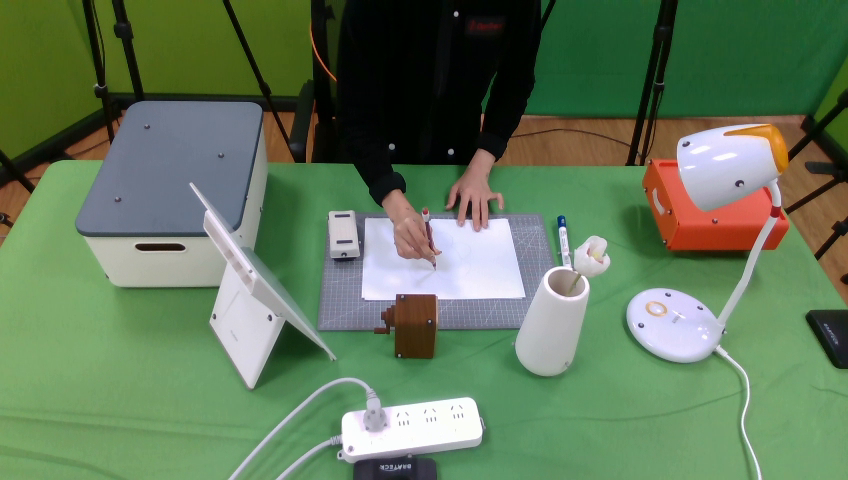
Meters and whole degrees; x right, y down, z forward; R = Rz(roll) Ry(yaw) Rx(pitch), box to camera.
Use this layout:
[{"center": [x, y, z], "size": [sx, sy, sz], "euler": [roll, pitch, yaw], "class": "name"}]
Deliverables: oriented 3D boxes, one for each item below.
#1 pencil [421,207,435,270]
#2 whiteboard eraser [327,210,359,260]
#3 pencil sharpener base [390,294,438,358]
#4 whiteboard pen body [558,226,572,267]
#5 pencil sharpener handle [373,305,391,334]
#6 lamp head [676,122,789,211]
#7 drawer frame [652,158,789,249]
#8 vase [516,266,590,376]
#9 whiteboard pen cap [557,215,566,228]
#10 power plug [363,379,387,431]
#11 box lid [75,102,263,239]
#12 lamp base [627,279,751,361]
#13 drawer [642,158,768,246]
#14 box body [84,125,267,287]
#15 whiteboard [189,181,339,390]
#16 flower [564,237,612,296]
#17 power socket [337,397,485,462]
[{"center": [0.010, 0.002, 1.073], "size": [0.012, 0.195, 0.012], "euler": [-3, 56, 5], "class": "pencil"}, {"center": [-0.158, -0.009, 1.177], "size": [0.055, 0.042, 0.112], "euler": [-6, 47, -7], "class": "whiteboard eraser"}, {"center": [-0.018, 0.143, 1.000], "size": [0.077, 0.107, 0.061], "euler": [1, 46, -2], "class": "pencil sharpener base"}, {"center": [0.280, 0.010, 1.208], "size": [0.017, 0.017, 0.140], "euler": [3, 50, -1], "class": "whiteboard pen body"}, {"center": [-0.069, 0.133, 0.989], "size": [0.030, 0.068, 0.036], "euler": [1, 47, -2], "class": "pencil sharpener handle"}, {"center": [0.423, -0.104, 0.819], "size": [0.122, 0.113, 0.112], "euler": [-13, 33, 40], "class": "lamp head"}, {"center": [0.571, -0.075, 1.214], "size": [0.214, 0.083, 0.200], "euler": [0, 45, -1], "class": "drawer frame"}, {"center": [0.208, 0.132, 0.965], "size": [0.098, 0.201, 0.097], "euler": [3, 46, -3], "class": "vase"}, {"center": [0.284, -0.035, 1.246], "size": [0.018, 0.018, 0.033], "euler": [4, 52, -1], "class": "whiteboard pen cap"}, {"center": [-0.072, 0.252, 0.910], "size": [0.035, 0.053, 0.072], "euler": [3, 45, -1], "class": "power plug"}, {"center": [-0.443, -0.138, 1.094], "size": [0.263, 0.015, 0.369], "euler": [-1, 47, -5], "class": "box lid"}, {"center": [0.459, 0.100, 1.027], "size": [0.178, 0.181, 0.160], "euler": [27, 51, 17], "class": "lamp base"}, {"center": [0.565, -0.076, 1.211], "size": [0.212, 0.073, 0.193], "euler": [2, 45, -2], "class": "drawer"}, {"center": [-0.446, -0.088, 1.150], "size": [0.254, 0.161, 0.361], "euler": [-1, 46, -5], "class": "box body"}, {"center": [-0.292, 0.096, 0.929], "size": [0.144, 0.307, 0.216], "euler": [-37, 57, -10], "class": "whiteboard"}, {"center": [0.206, 0.088, 0.893], "size": [0.038, 0.363, 0.044], "euler": [-17, 67, -9], "class": "flower"}, {"center": [-0.018, 0.285, 0.915], "size": [0.227, 0.033, 0.071], "euler": [-5, 46, -8], "class": "power socket"}]
